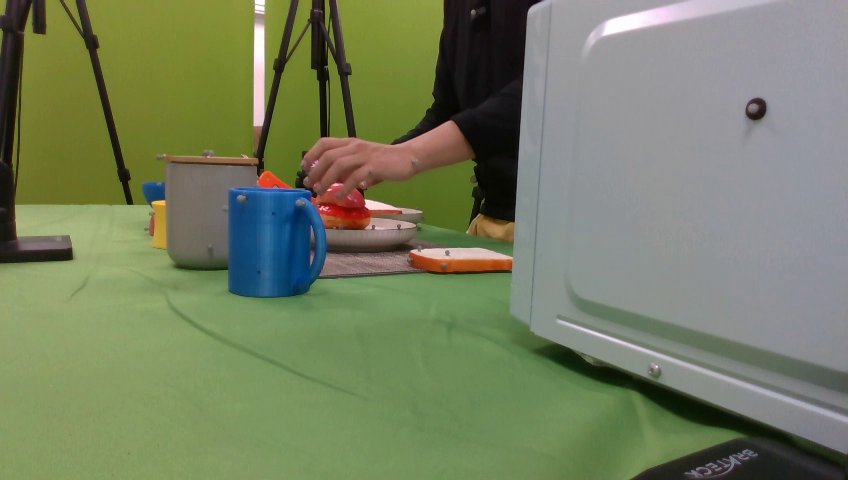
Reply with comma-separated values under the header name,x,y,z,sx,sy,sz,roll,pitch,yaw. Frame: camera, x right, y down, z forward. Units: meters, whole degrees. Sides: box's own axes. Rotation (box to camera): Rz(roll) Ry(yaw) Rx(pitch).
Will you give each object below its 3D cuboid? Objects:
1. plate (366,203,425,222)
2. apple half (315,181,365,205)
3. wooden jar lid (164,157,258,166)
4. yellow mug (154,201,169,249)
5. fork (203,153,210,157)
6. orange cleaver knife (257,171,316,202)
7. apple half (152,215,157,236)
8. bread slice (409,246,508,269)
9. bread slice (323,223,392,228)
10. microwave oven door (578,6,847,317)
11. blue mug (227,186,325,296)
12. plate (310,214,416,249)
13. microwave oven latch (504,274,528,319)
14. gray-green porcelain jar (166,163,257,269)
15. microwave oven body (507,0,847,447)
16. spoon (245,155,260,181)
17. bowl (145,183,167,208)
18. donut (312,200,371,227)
name,x,y,z,sx,sy,sz,roll,pitch,yaw
plate,-0.102,-0.053,1.299,0.209,0.038,0.209,2,8,0
apple half,-0.129,-0.076,0.954,0.081,0.033,0.081,7,12,-1
wooden jar lid,-0.261,-0.093,0.746,0.108,0.020,0.108,0,9,0
yellow mug,-0.337,-0.022,0.899,0.130,0.064,0.100,8,9,34
fork,-0.480,-0.136,1.411,0.028,0.018,0.207,0,-34,-1
orange cleaver knife,-0.283,-0.087,1.343,0.212,0.077,0.012,24,-16,-41
apple half,-0.416,-0.034,1.017,0.081,0.053,0.074,1,10,-9
bread slice,0.048,0.022,0.816,0.132,0.019,0.104,0,6,-24
bread slice,-0.120,-0.014,0.971,0.106,0.018,0.135,8,9,42
microwave oven door,0.294,-0.067,0.570,0.358,0.243,0.039,-3,9,-31
blue mug,-0.146,0.000,0.618,0.116,0.106,0.083,7,9,32
plate,-0.116,-0.014,0.967,0.208,0.039,0.207,2,8,0
microwave oven latch,0.100,0.041,0.470,0.079,0.029,0.030,-1,7,-27
gray-green porcelain jar,-0.263,-0.032,0.754,0.106,0.126,0.106,2,7,0
microwave oven body,0.331,-0.042,0.425,0.444,0.260,0.324,-2,8,-31
spoon,-0.421,-0.150,1.540,0.042,0.021,0.193,-5,55,-37
bowl,-0.459,-0.069,1.175,0.151,0.077,0.151,3,7,0
donut,-0.133,-0.043,0.959,0.099,0.048,0.099,1,7,0
